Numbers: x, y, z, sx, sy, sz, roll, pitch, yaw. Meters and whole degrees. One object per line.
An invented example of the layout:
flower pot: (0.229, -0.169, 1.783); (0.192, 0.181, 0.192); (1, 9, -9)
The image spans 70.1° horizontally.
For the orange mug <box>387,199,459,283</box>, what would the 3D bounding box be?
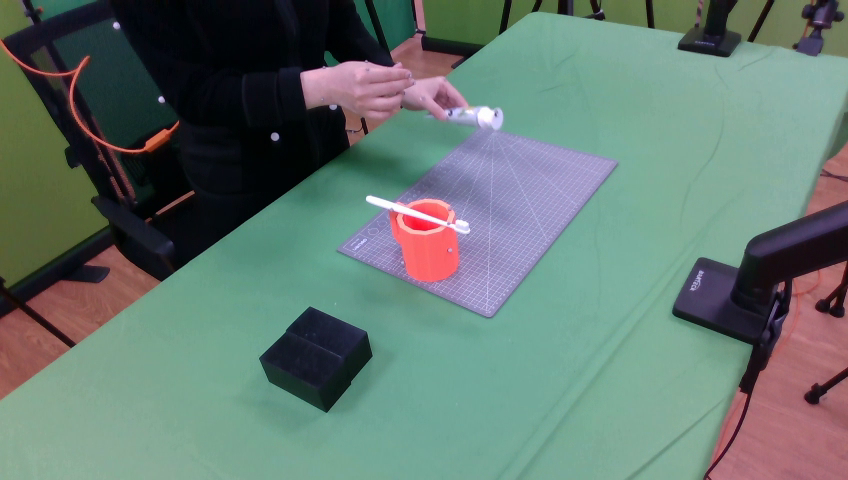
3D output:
orange mug: (-0.006, -0.007, 0.922); (0.125, 0.101, 0.084); (32, 54, 32)

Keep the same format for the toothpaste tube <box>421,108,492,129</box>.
toothpaste tube: (0.067, -0.220, 1.068); (0.055, 0.034, 0.163); (-23, 28, -36)

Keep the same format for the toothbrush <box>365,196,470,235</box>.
toothbrush: (-0.013, -0.039, 0.880); (0.180, 0.017, 0.014); (18, 50, 27)

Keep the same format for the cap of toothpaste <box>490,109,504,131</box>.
cap of toothpaste: (0.120, -0.201, 1.008); (0.011, 0.037, 0.037); (16, 46, 32)
